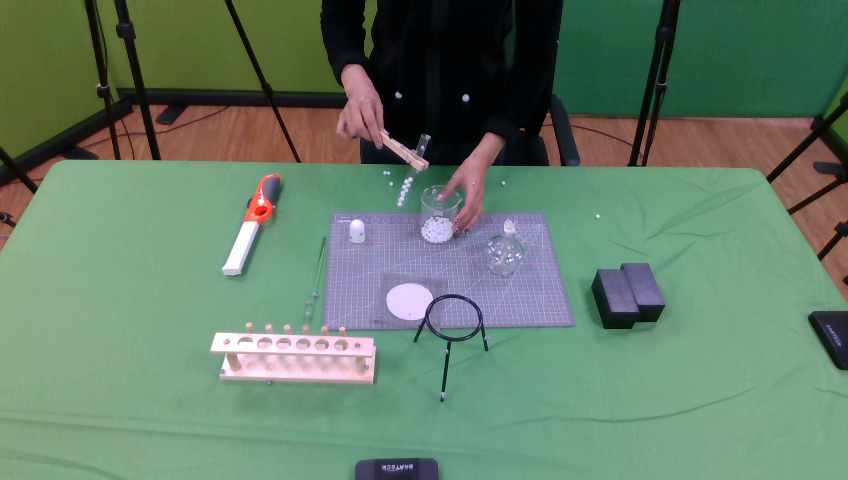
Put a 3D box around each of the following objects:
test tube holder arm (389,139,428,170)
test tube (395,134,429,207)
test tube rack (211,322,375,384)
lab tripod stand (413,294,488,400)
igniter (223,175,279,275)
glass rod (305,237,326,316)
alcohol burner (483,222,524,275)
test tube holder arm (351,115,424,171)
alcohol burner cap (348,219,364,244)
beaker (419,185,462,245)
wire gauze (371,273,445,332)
[{"bbox_3d":[-0.032,-0.155,1.096,0.087,0.015,0.010,35,27,14],"label":"test tube holder arm"},{"bbox_3d":[-0.024,-0.124,1.097,0.017,0.150,0.017,18,30,-10],"label":"test tube"},{"bbox_3d":[-0.203,0.176,0.969,0.242,0.085,0.066,3,46,-2],"label":"test tube rack"},{"bbox_3d":[0.044,0.159,0.972,0.148,0.132,0.147,2,44,-2],"label":"lab tripod stand"},{"bbox_3d":[-0.341,-0.039,1.206,0.057,0.025,0.275,-1,45,8],"label":"igniter"},{"bbox_3d":[-0.202,0.064,1.131,0.008,0.008,0.198,3,43,0],"label":"glass rod"},{"bbox_3d":[0.152,0.009,1.135,0.078,0.119,0.077,4,47,-4],"label":"alcohol burner"},{"bbox_3d":[-0.069,-0.179,1.106,0.177,0.015,0.013,38,27,20],"label":"test tube holder arm"},{"bbox_3d":[-0.134,-0.019,1.190,0.034,0.048,0.033,2,46,-2],"label":"alcohol burner cap"},{"bbox_3d":[0.029,-0.047,1.190,0.084,0.101,0.073,-5,47,-9],"label":"beaker"},{"bbox_3d":[-0.028,0.108,1.100,0.125,0.011,0.121,7,45,4],"label":"wire gauze"}]
